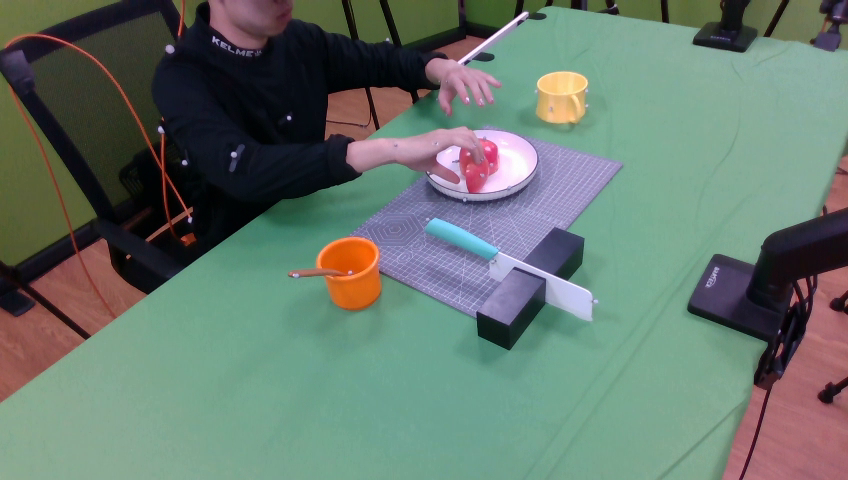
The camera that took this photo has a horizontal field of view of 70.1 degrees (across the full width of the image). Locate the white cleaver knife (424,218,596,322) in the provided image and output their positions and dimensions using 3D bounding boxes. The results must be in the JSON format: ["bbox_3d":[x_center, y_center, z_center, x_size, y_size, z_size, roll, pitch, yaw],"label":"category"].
[{"bbox_3d":[0.114,0.042,0.865,0.284,0.066,0.021,27,47,28],"label":"white cleaver knife"}]

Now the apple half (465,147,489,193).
[{"bbox_3d":[0.095,-0.115,1.029,0.032,0.081,0.081,6,42,19],"label":"apple half"}]

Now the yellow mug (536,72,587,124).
[{"bbox_3d":[0.284,-0.281,1.222,0.100,0.064,0.130,-16,42,-9],"label":"yellow mug"}]

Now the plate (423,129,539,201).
[{"bbox_3d":[0.103,-0.132,1.092,0.209,0.038,0.208,-4,40,4],"label":"plate"}]

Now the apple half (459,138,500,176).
[{"bbox_3d":[0.100,-0.156,1.096,0.074,0.053,0.080,3,40,12],"label":"apple half"}]

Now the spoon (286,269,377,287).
[{"bbox_3d":[-0.125,0.049,0.831,0.041,0.195,0.021,22,93,28],"label":"spoon"}]
